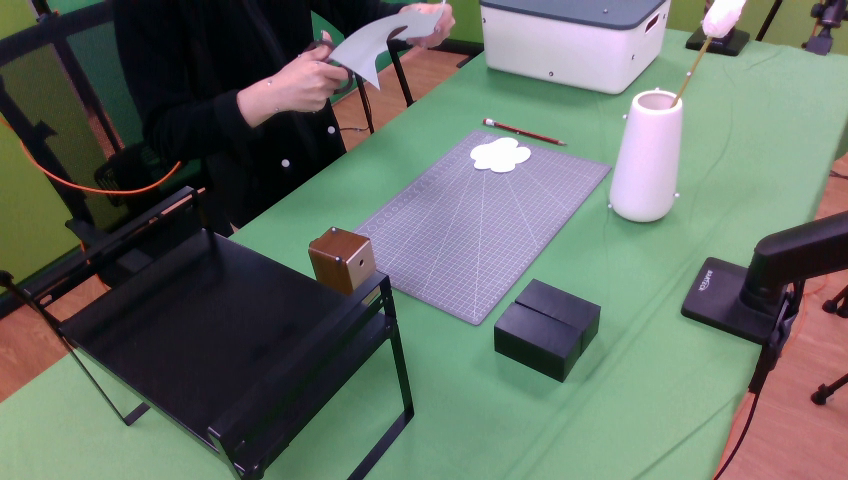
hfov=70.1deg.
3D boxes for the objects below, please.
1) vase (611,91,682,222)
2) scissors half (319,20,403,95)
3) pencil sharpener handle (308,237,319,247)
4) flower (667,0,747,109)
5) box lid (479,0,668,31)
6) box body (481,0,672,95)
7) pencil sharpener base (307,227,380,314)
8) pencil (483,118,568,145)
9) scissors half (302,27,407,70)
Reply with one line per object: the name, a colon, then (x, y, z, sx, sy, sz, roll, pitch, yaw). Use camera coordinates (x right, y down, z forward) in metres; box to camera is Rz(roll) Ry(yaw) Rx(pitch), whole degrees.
vase: (0.348, -0.125, 0.935, 0.098, 0.201, 0.097, -3, 40, 3)
scissors half: (-0.092, -0.268, 0.892, 0.174, 0.040, 0.013, -34, 20, 34)
pencil sharpener handle: (-0.158, 0.017, 0.892, 0.030, 0.068, 0.036, 18, 61, 28)
flower: (0.354, -0.187, 0.879, 0.038, 0.362, 0.044, 31, 48, 14)
box lid: (0.335, -0.536, 1.331, 0.368, 0.015, 0.264, 23, 49, 30)
box body: (0.341, -0.480, 1.381, 0.361, 0.161, 0.255, 22, 48, 30)
pencil sharpener base: (-0.116, 0.043, 0.875, 0.076, 0.107, 0.061, 18, 47, 28)
pencil: (0.202, -0.217, 1.212, 0.192, 0.012, 0.012, 24, 49, 29)
scissors half: (-0.104, -0.284, 0.883, 0.174, 0.040, 0.013, -8, 37, 21)
